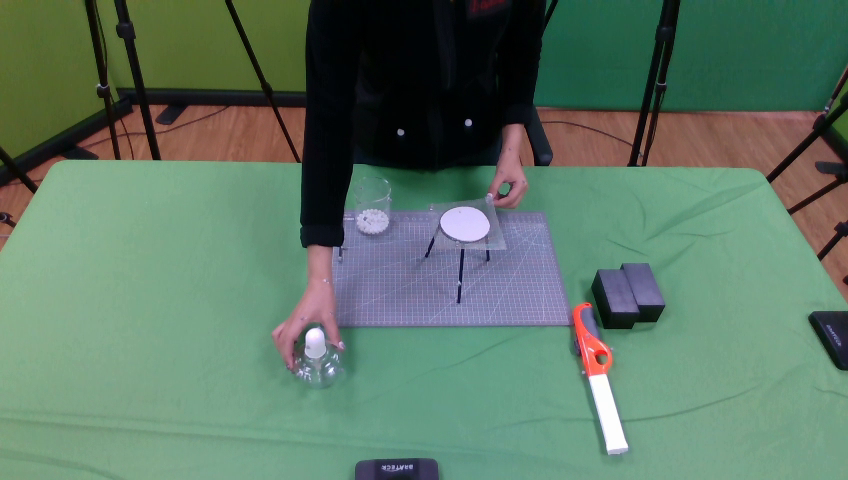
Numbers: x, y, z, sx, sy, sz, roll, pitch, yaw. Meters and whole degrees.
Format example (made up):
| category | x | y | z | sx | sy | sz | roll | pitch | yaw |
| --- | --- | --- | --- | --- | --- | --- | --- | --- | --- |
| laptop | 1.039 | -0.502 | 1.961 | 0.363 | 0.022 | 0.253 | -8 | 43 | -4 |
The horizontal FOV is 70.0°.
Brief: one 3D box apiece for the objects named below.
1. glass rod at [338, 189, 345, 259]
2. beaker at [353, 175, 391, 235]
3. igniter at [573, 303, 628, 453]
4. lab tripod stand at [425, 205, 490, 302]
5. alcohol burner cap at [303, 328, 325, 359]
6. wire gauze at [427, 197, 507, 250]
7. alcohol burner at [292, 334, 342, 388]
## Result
| category | x | y | z | sx | sy | sz | roll | pitch | yaw |
| --- | --- | --- | --- | --- | --- | --- | --- | --- | --- |
| glass rod | -0.166 | -0.036 | 1.226 | 0.008 | 0.008 | 0.198 | -1 | 47 | -4 |
| beaker | -0.104 | -0.064 | 1.195 | 0.074 | 0.101 | 0.084 | 24 | 50 | 18 |
| igniter | 0.288 | 0.217 | 1.006 | 0.057 | 0.025 | 0.274 | -9 | 46 | 8 |
| lab tripod stand | 0.069 | 0.017 | 1.105 | 0.148 | 0.132 | 0.147 | 3 | 47 | -3 |
| alcohol burner cap | -0.169 | 0.155 | 0.924 | 0.034 | 0.048 | 0.033 | 5 | 42 | -4 |
| wire gauze | 0.073 | -0.028 | 1.055 | 0.125 | 0.011 | 0.120 | -3 | 48 | -7 |
| alcohol burner | -0.169 | 0.180 | 0.950 | 0.078 | 0.120 | 0.077 | 2 | 48 | -2 |
